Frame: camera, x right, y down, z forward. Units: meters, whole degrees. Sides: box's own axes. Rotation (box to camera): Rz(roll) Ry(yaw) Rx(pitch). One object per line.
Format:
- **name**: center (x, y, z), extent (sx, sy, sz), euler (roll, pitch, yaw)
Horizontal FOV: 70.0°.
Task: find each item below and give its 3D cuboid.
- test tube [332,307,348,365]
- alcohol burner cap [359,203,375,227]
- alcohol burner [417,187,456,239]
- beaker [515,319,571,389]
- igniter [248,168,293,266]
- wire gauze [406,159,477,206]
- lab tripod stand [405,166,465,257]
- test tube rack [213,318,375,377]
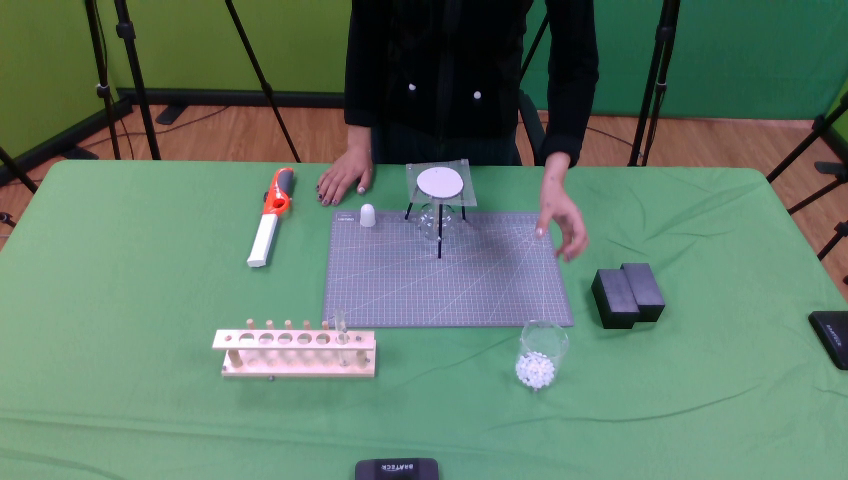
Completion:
- **test tube**: center (-0.128, 0.151, 0.931), extent (0.017, 0.151, 0.017), euler (2, 50, -2)
- **alcohol burner cap**: center (-0.115, -0.053, 1.224), extent (0.034, 0.048, 0.033), euler (3, 47, -3)
- **alcohol burner**: center (0.025, -0.059, 1.189), extent (0.078, 0.120, 0.077), euler (1, 48, -1)
- **beaker**: center (0.186, 0.185, 0.980), extent (0.074, 0.101, 0.083), euler (-23, 51, -24)
- **igniter**: center (-0.307, -0.055, 1.225), extent (0.057, 0.025, 0.275), euler (-3, 45, 6)
- **wire gauze**: center (0.031, -0.108, 1.129), extent (0.125, 0.011, 0.120), euler (-1, 48, -4)
- **lab tripod stand**: center (0.030, -0.063, 1.180), extent (0.148, 0.132, 0.147), euler (3, 47, -3)
- **test tube rack**: center (-0.202, 0.169, 0.977), extent (0.242, 0.085, 0.066), euler (1, 46, -3)
